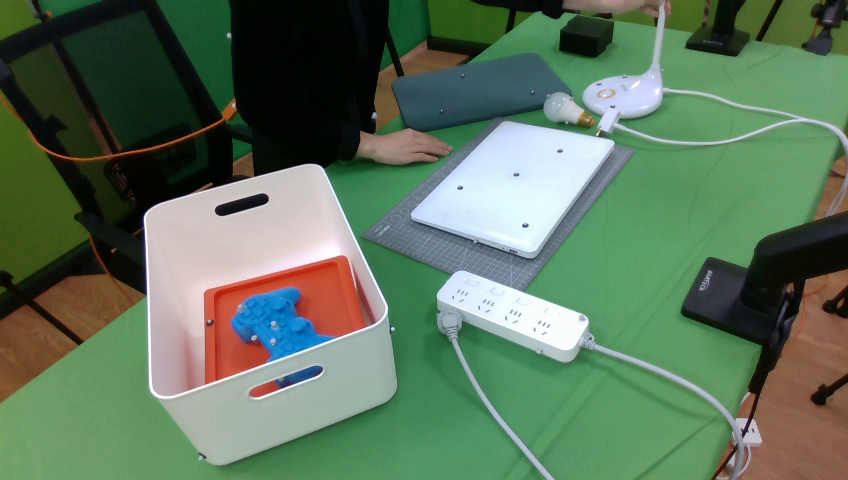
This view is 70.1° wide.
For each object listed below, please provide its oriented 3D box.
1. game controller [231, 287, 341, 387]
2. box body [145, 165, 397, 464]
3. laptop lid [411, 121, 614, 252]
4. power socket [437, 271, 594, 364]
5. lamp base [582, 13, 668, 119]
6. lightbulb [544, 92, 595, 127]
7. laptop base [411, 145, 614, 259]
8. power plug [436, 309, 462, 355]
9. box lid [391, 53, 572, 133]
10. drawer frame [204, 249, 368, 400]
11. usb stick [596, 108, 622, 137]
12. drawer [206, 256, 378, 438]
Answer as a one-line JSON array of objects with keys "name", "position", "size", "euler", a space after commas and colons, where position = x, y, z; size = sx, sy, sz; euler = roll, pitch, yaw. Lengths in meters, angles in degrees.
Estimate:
[{"name": "game controller", "position": [-0.167, 0.110, 0.734], "size": [0.097, 0.052, 0.154], "euler": [-34, 47, -22]}, {"name": "box body", "position": [-0.205, 0.080, 0.802], "size": [0.255, 0.161, 0.361], "euler": [-18, 41, -13]}, {"name": "laptop lid", "position": [0.164, -0.112, 1.068], "size": [0.240, 0.013, 0.357], "euler": [19, 46, 30]}, {"name": "power socket", "position": [0.118, 0.102, 0.830], "size": [0.225, 0.033, 0.072], "euler": [20, 48, 28]}, {"name": "lamp base", "position": [0.417, -0.360, 1.216], "size": [0.180, 0.181, 0.159], "euler": [-13, 41, -10]}, {"name": "lightbulb", "position": [0.293, -0.257, 1.216], "size": [0.107, 0.059, 0.059], "euler": [30, 51, 16]}, {"name": "laptop base", "position": [0.167, -0.102, 1.075], "size": [0.234, 0.023, 0.355], "euler": [17, 45, 30]}, {"name": "power plug", "position": [0.032, 0.126, 0.809], "size": [0.035, 0.053, 0.072], "euler": [3, 59, 7]}, {"name": "box lid", "position": [0.122, -0.339, 1.366], "size": [0.372, 0.015, 0.261], "euler": [-12, 40, -5]}, {"name": "drawer frame", "position": [-0.174, 0.129, 0.790], "size": [0.202, 0.083, 0.212], "euler": [-16, 45, -8]}, {"name": "usb stick", "position": [0.354, -0.223, 1.166], "size": [0.027, 0.059, 0.022], "euler": [37, 16, 34]}, {"name": "drawer", "position": [-0.177, 0.130, 0.787], "size": [0.195, 0.073, 0.210], "euler": [-14, 39, -9]}]
